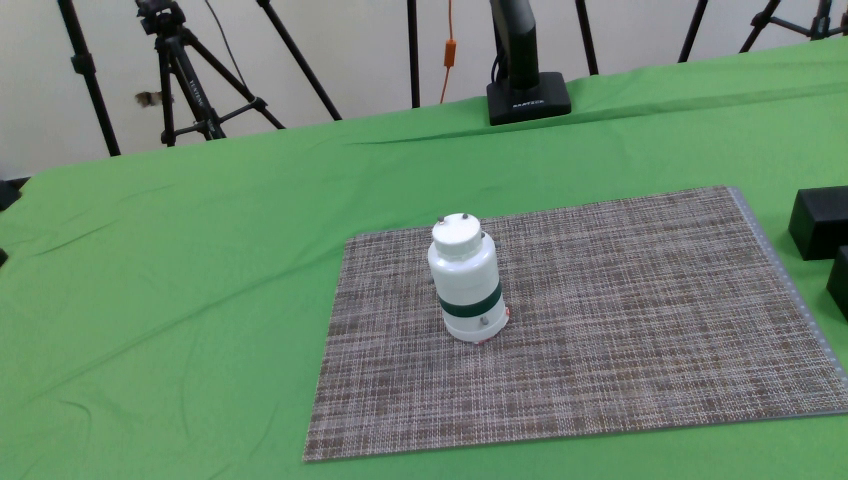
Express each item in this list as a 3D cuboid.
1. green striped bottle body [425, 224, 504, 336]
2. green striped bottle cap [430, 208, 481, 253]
[{"bbox_3d":[0.038,0.030,0.571,0.063,0.120,0.062,-8,40,8],"label":"green striped bottle body"},{"bbox_3d":[0.028,-0.009,0.537,0.044,0.020,0.044,-10,40,9],"label":"green striped bottle cap"}]
